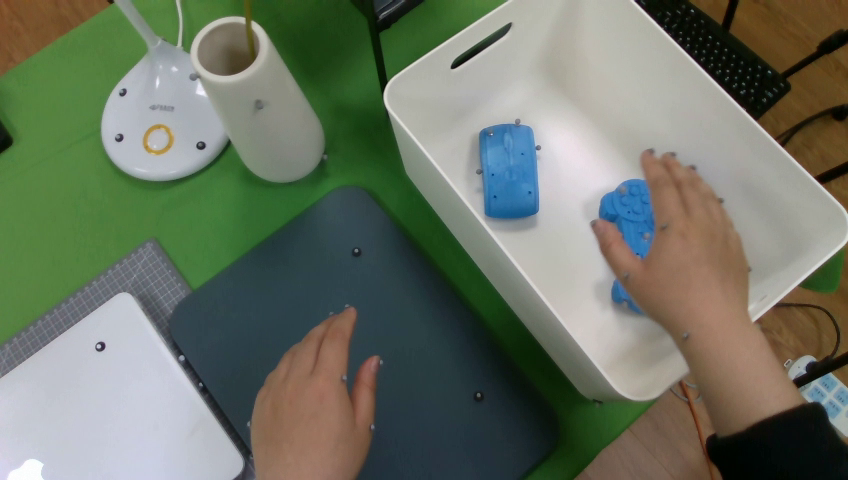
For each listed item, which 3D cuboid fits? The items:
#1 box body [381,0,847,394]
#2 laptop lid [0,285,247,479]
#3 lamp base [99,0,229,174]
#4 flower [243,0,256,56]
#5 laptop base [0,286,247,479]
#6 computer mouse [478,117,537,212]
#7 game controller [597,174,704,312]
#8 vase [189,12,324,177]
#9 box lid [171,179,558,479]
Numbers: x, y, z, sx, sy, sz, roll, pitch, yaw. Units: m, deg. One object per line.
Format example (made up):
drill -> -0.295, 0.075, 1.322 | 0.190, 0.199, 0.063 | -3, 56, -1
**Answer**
box body -> 0.162, -0.056, 0.605 | 0.254, 0.161, 0.362 | -36, 75, -8
laptop lid -> -0.380, 0.236, 0.595 | 0.356, 0.013, 0.240 | -37, 77, -9
lamp base -> -0.310, -0.187, 0.652 | 0.160, 0.181, 0.178 | -6, 70, 0
flower -> -0.156, -0.180, 0.549 | 0.038, 0.364, 0.043 | -24, 63, -23
laptop base -> -0.381, 0.238, 0.606 | 0.354, 0.023, 0.234 | -38, 79, -10
computer mouse -> 0.093, -0.087, 0.676 | 0.063, 0.041, 0.116 | -2, 69, 4
game controller -> 0.240, -0.001, 0.640 | 0.097, 0.052, 0.154 | -4, 72, 2
vase -> -0.168, -0.143, 0.624 | 0.098, 0.201, 0.097 | -1, 72, 4
box lid -> -0.069, 0.128, 0.634 | 0.263, 0.015, 0.369 | -39, 76, -10
